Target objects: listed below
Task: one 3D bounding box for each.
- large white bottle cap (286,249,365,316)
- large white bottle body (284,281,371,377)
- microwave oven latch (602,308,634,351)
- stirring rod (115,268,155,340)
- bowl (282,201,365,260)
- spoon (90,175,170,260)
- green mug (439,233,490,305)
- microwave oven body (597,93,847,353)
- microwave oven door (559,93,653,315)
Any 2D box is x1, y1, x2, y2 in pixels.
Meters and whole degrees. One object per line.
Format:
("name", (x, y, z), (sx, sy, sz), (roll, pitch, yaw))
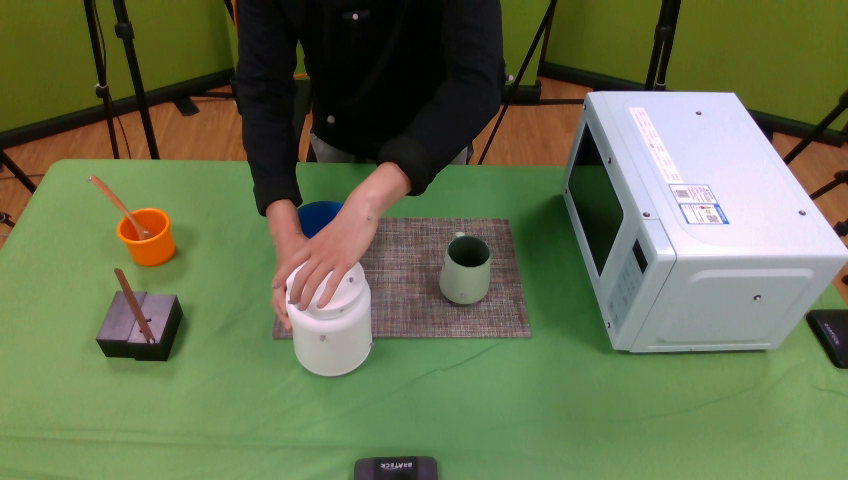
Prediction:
("large white bottle cap", (-0.145, 0.061, 0.894), (0.115, 0.018, 0.114), (2, 48, -2))
("large white bottle body", (-0.150, 0.117, 0.959), (0.131, 0.185, 0.130), (2, 48, -2))
("microwave oven latch", (0.332, 0.153, 1.044), (0.030, 0.029, 0.078), (-1, 45, -4))
("stirring rod", (-0.478, 0.102, 0.999), (0.014, 0.006, 0.175), (8, 32, -50))
("bowl", (-0.186, 0.005, 1.138), (0.151, 0.077, 0.150), (3, 46, -3))
("spoon", (-0.539, -0.042, 1.111), (0.021, 0.194, 0.041), (-15, 25, 51))
("green mug", (0.072, 0.045, 1.102), (0.092, 0.105, 0.124), (-6, 46, -9))
("microwave oven body", (0.475, -0.041, 1.109), (0.326, 0.261, 0.438), (-1, 45, -4))
("microwave oven door", (0.327, -0.074, 1.123), (0.039, 0.245, 0.353), (-1, 46, -5))
